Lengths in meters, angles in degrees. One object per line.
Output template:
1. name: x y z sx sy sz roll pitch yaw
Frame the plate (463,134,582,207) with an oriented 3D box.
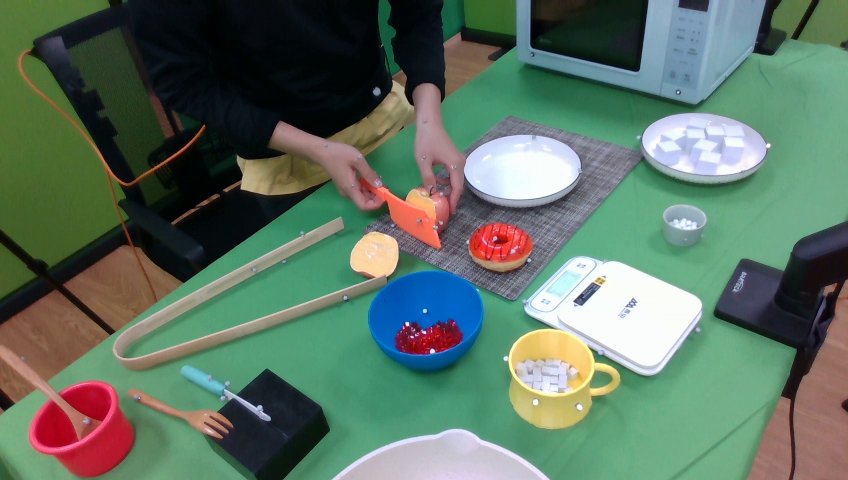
1. plate: 0.173 -0.119 1.070 0.209 0.038 0.208 -4 40 4

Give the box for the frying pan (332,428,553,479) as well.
1. frying pan: -0.089 0.306 0.564 0.487 0.103 0.306 10 41 7

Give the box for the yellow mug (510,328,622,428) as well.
1. yellow mug: 0.168 0.164 0.722 0.130 0.064 0.099 0 40 8

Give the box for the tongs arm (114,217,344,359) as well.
1. tongs arm: -0.280 0.068 0.927 0.386 0.026 0.050 -29 49 -22

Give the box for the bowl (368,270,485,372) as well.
1. bowl: 0.007 0.118 0.791 0.151 0.077 0.150 -5 40 4

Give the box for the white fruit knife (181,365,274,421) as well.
1. white fruit knife: -0.245 0.187 0.747 0.205 0.027 0.016 9 41 40

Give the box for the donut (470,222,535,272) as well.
1. donut: 0.119 0.009 0.923 0.099 0.048 0.098 -4 38 3

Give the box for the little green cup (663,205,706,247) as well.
1. little green cup: 0.396 -0.020 0.926 0.061 0.039 0.061 -4 40 4

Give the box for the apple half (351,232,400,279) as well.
1. apple half: -0.071 0.029 0.940 0.081 0.033 0.081 -2 64 5

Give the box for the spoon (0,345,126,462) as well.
1. spoon: -0.434 0.192 0.720 0.194 0.021 0.042 47 53 -7

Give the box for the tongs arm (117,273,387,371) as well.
1. tongs arm: -0.237 0.115 0.870 0.389 0.028 0.028 -18 49 -12

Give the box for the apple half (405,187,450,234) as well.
1. apple half: 0.011 -0.046 0.983 0.054 0.075 0.080 -13 30 -39

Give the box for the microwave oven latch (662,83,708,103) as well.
1. microwave oven latch: 0.517 -0.296 1.204 0.078 0.029 0.030 28 52 35

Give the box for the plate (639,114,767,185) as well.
1. plate: 0.489 -0.157 1.074 0.207 0.039 0.206 -4 40 4

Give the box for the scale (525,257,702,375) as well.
1. scale: 0.254 0.091 0.821 0.199 0.032 0.149 28 51 35

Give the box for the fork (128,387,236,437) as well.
1. fork: -0.305 0.207 0.744 0.206 0.019 0.028 3 42 36

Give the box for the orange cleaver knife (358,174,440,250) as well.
1. orange cleaver knife: -0.043 -0.049 0.990 0.012 0.077 0.209 -29 42 -27

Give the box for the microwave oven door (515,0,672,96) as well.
1. microwave oven door: 0.343 -0.455 1.259 0.353 0.245 0.039 26 51 33

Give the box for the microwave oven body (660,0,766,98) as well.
1. microwave oven body: 0.472 -0.513 1.317 0.438 0.261 0.327 26 51 34
